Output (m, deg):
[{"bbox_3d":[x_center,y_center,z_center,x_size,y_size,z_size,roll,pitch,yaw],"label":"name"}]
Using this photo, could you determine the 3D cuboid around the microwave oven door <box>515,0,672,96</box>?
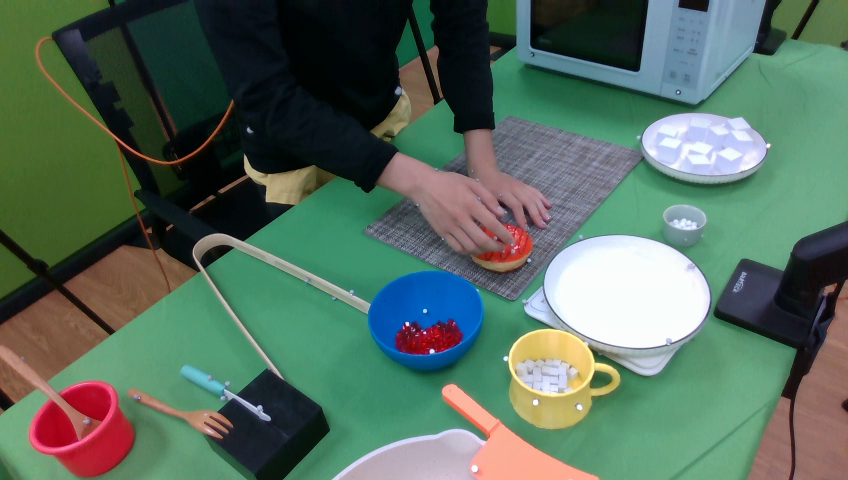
[{"bbox_3d":[0.343,-0.454,1.259,0.353,0.245,0.039,26,51,33],"label":"microwave oven door"}]

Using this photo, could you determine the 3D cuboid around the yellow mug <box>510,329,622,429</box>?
[{"bbox_3d":[0.168,0.164,0.721,0.130,0.064,0.099,0,40,8],"label":"yellow mug"}]

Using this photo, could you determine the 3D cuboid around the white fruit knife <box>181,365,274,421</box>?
[{"bbox_3d":[-0.245,0.188,0.747,0.205,0.027,0.016,9,41,41],"label":"white fruit knife"}]

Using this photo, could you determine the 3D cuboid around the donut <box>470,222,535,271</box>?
[{"bbox_3d":[0.119,0.009,0.923,0.099,0.048,0.098,-4,37,3],"label":"donut"}]

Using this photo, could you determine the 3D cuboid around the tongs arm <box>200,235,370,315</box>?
[{"bbox_3d":[-0.209,0.062,0.924,0.381,0.026,0.051,23,54,32],"label":"tongs arm"}]

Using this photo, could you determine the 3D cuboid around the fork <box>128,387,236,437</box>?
[{"bbox_3d":[-0.305,0.207,0.744,0.206,0.019,0.028,3,41,36],"label":"fork"}]

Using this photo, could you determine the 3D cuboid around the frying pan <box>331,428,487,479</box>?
[{"bbox_3d":[-0.089,0.306,0.564,0.487,0.103,0.306,10,41,7],"label":"frying pan"}]

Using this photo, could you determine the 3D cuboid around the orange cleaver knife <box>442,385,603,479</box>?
[{"bbox_3d":[0.086,0.219,0.612,0.209,0.012,0.077,28,49,35],"label":"orange cleaver knife"}]

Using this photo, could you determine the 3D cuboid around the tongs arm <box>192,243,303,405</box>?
[{"bbox_3d":[-0.268,0.110,0.884,0.028,0.028,0.384,-36,47,-18],"label":"tongs arm"}]

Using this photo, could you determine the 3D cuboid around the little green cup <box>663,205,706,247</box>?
[{"bbox_3d":[0.396,-0.020,0.926,0.061,0.039,0.061,-4,40,4],"label":"little green cup"}]

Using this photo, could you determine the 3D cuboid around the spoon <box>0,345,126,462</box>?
[{"bbox_3d":[-0.434,0.192,0.720,0.194,0.021,0.042,47,53,-6],"label":"spoon"}]

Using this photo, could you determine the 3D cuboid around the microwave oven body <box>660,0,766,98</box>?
[{"bbox_3d":[0.472,-0.513,1.317,0.438,0.261,0.327,26,51,34],"label":"microwave oven body"}]

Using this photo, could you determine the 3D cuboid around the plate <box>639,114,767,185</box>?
[{"bbox_3d":[0.489,-0.157,1.074,0.207,0.039,0.206,-4,40,4],"label":"plate"}]

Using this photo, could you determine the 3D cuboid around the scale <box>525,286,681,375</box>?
[{"bbox_3d":[0.254,0.091,0.821,0.199,0.032,0.149,28,51,35],"label":"scale"}]

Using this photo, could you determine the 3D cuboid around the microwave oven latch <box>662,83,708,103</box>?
[{"bbox_3d":[0.517,-0.296,1.204,0.078,0.029,0.030,28,52,35],"label":"microwave oven latch"}]

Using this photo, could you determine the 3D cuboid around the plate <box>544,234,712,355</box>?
[{"bbox_3d":[0.262,0.072,0.792,0.209,0.038,0.208,-4,41,4],"label":"plate"}]

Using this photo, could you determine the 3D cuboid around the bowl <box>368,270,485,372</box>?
[{"bbox_3d":[0.007,0.119,0.791,0.151,0.077,0.150,-5,39,4],"label":"bowl"}]
